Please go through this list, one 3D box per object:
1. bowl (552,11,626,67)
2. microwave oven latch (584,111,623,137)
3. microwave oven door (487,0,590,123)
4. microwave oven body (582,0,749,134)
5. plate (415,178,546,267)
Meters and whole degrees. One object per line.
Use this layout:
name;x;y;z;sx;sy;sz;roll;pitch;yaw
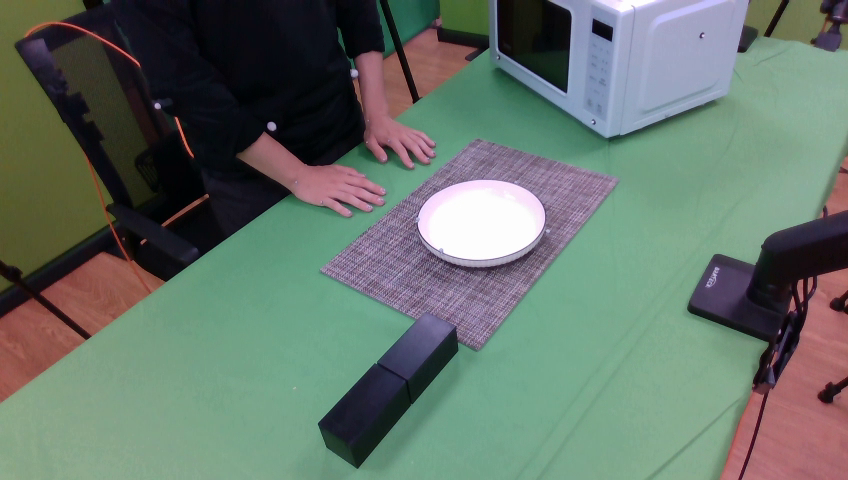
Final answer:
bowl;0.343;-0.418;1.278;0.151;0.077;0.150;-1;41;1
microwave oven latch;0.337;-0.222;1.142;0.030;0.029;0.078;-21;42;-14
microwave oven door;0.232;-0.420;1.230;0.039;0.245;0.352;-22;42;-16
microwave oven body;0.382;-0.444;1.246;0.327;0.261;0.437;-22;42;-16
plate;0.091;-0.026;0.970;0.207;0.039;0.206;-4;41;4
